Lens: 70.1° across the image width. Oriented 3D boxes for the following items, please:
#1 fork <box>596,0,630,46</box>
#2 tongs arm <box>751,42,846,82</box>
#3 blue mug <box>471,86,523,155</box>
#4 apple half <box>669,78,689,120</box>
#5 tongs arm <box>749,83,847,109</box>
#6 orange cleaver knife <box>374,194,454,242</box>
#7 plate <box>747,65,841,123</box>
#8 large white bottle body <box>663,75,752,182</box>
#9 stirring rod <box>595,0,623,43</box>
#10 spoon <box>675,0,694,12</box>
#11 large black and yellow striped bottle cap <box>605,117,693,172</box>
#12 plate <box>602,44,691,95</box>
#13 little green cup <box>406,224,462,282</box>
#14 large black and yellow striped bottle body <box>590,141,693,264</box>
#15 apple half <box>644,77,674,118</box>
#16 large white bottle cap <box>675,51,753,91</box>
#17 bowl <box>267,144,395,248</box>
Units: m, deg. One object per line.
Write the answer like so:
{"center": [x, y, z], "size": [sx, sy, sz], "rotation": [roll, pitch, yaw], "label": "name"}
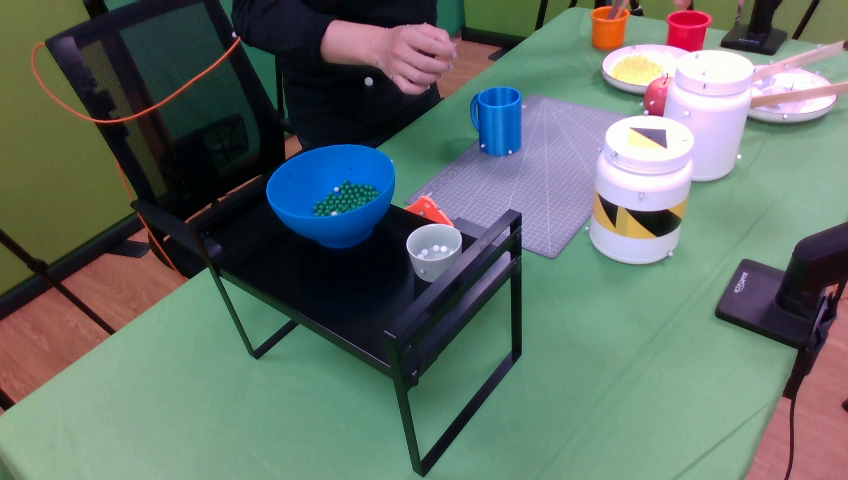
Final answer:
{"center": [0.481, -0.556, 1.452], "size": [0.028, 0.019, 0.207], "rotation": [40, 103, 41], "label": "fork"}
{"center": [0.708, -0.331, 1.193], "size": [0.386, 0.026, 0.050], "rotation": [-18, 45, -16], "label": "tongs arm"}
{"center": [0.135, -0.235, 1.163], "size": [0.082, 0.106, 0.115], "rotation": [-36, 48, -28], "label": "blue mug"}
{"center": [0.498, -0.273, 1.180], "size": [0.032, 0.082, 0.081], "rotation": [7, 42, 25], "label": "apple half"}
{"center": [0.734, -0.280, 1.133], "size": [0.388, 0.028, 0.028], "rotation": [-9, 47, -5], "label": "tongs arm"}
{"center": [-0.032, -0.026, 0.964], "size": [0.210, 0.077, 0.012], "rotation": [-9, 29, 51], "label": "orange cleaver knife"}
{"center": [0.695, -0.282, 1.189], "size": [0.207, 0.039, 0.206], "rotation": [-4, 40, 4], "label": "plate"}
{"center": [0.472, -0.207, 1.022], "size": [0.130, 0.185, 0.130], "rotation": [-4, 41, 4], "label": "large white bottle body"}
{"center": [0.460, -0.556, 1.460], "size": [0.014, 0.006, 0.176], "rotation": [30, 94, 24], "label": "stirring rod"}
{"center": [0.554, -0.596, 1.321], "size": [0.041, 0.195, 0.022], "rotation": [8, 43, 48], "label": "spoon"}
{"center": [0.309, -0.134, 0.833], "size": [0.115, 0.019, 0.114], "rotation": [-5, 40, 5], "label": "large black and yellow striped bottle cap"}
{"center": [0.494, -0.367, 1.317], "size": [0.209, 0.038, 0.208], "rotation": [-4, 40, 4], "label": "plate"}
{"center": [0.012, 0.015, 0.668], "size": [0.061, 0.039, 0.061], "rotation": [-4, 40, 4], "label": "little green cup"}
{"center": [0.317, -0.071, 0.889], "size": [0.131, 0.185, 0.130], "rotation": [-4, 41, 4], "label": "large black and yellow striped bottle body"}
{"center": [0.463, -0.279, 1.194], "size": [0.053, 0.075, 0.081], "rotation": [8, 46, 24], "label": "apple half"}
{"center": [0.463, -0.271, 0.967], "size": [0.115, 0.018, 0.114], "rotation": [-4, 40, 4], "label": "large white bottle cap"}
{"center": [-0.104, -0.043, 0.726], "size": [0.151, 0.077, 0.150], "rotation": [-4, 40, 4], "label": "bowl"}
